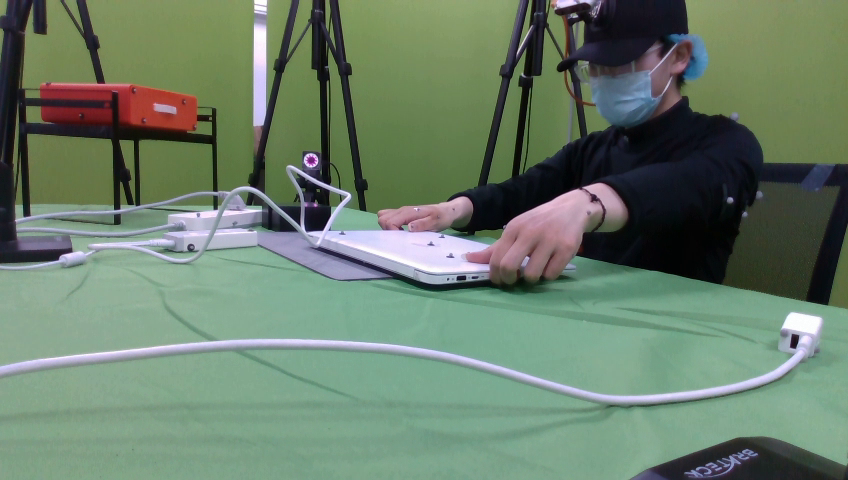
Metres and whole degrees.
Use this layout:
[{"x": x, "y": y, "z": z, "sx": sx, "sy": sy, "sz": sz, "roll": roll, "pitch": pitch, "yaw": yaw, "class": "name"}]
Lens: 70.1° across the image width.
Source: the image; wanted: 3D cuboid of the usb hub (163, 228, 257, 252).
[{"x": -0.314, "y": -0.001, "z": 0.894, "sx": 0.049, "sy": 0.025, "sz": 0.126, "roll": 9, "pitch": 10, "yaw": 41, "class": "usb hub"}]

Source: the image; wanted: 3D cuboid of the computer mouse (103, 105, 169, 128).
[{"x": -0.581, "y": -0.249, "z": 1.223, "sx": 0.118, "sy": 0.041, "sz": 0.062, "roll": 2, "pitch": 3, "yaw": -39, "class": "computer mouse"}]

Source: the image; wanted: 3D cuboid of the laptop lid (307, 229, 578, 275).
[{"x": 0.009, "y": 0.009, "z": 0.850, "sx": 0.243, "sy": 0.013, "sz": 0.355, "roll": 0, "pitch": 8, "yaw": -32, "class": "laptop lid"}]

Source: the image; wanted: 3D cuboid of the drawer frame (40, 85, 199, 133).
[{"x": -0.612, "y": -0.266, "z": 1.235, "sx": 0.213, "sy": 0.082, "sz": 0.202, "roll": 4, "pitch": 8, "yaw": 15, "class": "drawer frame"}]

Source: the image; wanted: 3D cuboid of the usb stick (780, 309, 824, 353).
[{"x": 0.311, "y": 0.072, "z": 0.496, "sx": 0.027, "sy": 0.021, "sz": 0.059, "roll": 8, "pitch": 15, "yaw": 34, "class": "usb stick"}]

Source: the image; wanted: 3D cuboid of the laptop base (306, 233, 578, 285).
[{"x": 0.007, "y": 0.021, "z": 0.850, "sx": 0.237, "sy": 0.023, "sz": 0.352, "roll": 0, "pitch": 8, "yaw": -34, "class": "laptop base"}]

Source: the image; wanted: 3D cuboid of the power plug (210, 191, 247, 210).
[{"x": -0.386, "y": -0.071, "z": 1.204, "sx": 0.072, "sy": 0.052, "sz": 0.035, "roll": 8, "pitch": 11, "yaw": 25, "class": "power plug"}]

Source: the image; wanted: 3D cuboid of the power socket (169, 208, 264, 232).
[{"x": -0.381, "y": -0.038, "z": 1.128, "sx": 0.072, "sy": 0.032, "sz": 0.227, "roll": 4, "pitch": 8, "yaw": 17, "class": "power socket"}]

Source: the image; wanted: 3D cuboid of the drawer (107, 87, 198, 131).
[{"x": -0.609, "y": -0.265, "z": 1.236, "sx": 0.211, "sy": 0.073, "sz": 0.195, "roll": 4, "pitch": 8, "yaw": 16, "class": "drawer"}]
